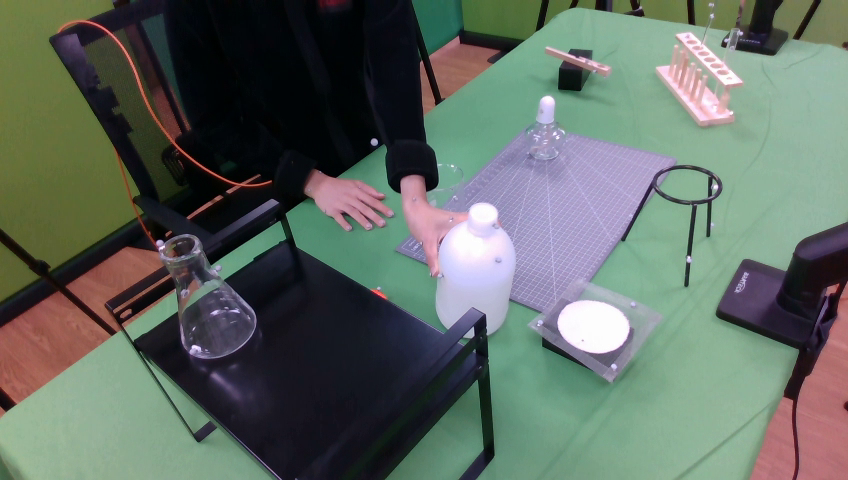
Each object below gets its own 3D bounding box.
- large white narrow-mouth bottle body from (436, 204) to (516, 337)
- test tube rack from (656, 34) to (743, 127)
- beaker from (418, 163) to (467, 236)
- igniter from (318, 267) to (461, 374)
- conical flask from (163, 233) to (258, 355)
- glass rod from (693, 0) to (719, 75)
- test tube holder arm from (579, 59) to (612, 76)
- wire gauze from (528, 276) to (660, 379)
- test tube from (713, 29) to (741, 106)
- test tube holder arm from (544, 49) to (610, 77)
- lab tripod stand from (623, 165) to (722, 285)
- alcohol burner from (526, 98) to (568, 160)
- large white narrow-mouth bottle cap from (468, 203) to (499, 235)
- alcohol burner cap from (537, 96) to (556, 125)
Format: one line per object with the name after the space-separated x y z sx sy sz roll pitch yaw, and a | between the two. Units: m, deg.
0.068 0.034 0.790 0.102 0.195 0.101 2 45 -1 | large white narrow-mouth bottle body
0.553 -0.330 1.233 0.067 0.085 0.241 -7 40 2 | test tube rack
0.035 -0.065 0.990 0.073 0.101 0.084 25 49 32 | beaker
-0.060 0.108 0.862 0.274 0.025 0.057 28 62 34 | igniter
-0.216 0.051 0.601 0.075 0.122 0.075 -4 40 4 | conical flask
0.561 -0.401 1.214 0.008 0.200 0.008 -1 48 2 | glass rod
0.362 -0.368 1.289 0.010 0.015 0.087 -25 43 -31 | test tube holder arm
0.213 0.103 0.763 0.124 0.011 0.122 30 52 35 | wire gauze
0.573 -0.324 1.146 0.017 0.151 0.017 -3 39 3 | test tube
0.330 -0.386 1.314 0.013 0.015 0.177 -25 43 -31 | test tube holder arm
0.365 -0.030 0.874 0.148 0.132 0.147 -6 41 6 | lab tripod stand
0.228 -0.210 1.118 0.078 0.119 0.077 -5 43 5 | alcohol burner
0.072 -0.026 0.729 0.038 0.024 0.037 2 45 -1 | large white narrow-mouth bottle cap
0.223 -0.237 1.095 0.034 0.048 0.033 0 42 1 | alcohol burner cap
